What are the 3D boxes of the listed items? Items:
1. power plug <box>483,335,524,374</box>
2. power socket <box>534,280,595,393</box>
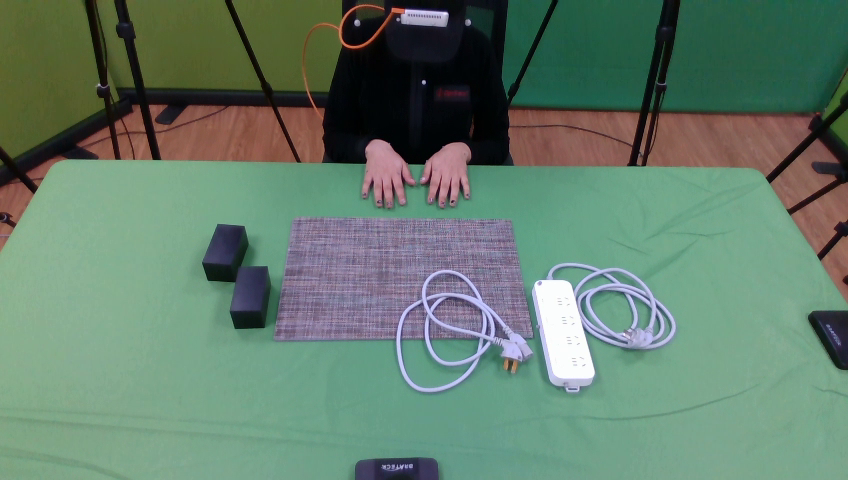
[{"bbox_3d":[0.132,0.193,1.019,0.072,0.035,0.052,7,68,25],"label":"power plug"},{"bbox_3d":[0.241,0.158,1.055,0.072,0.033,0.225,1,46,-3],"label":"power socket"}]
